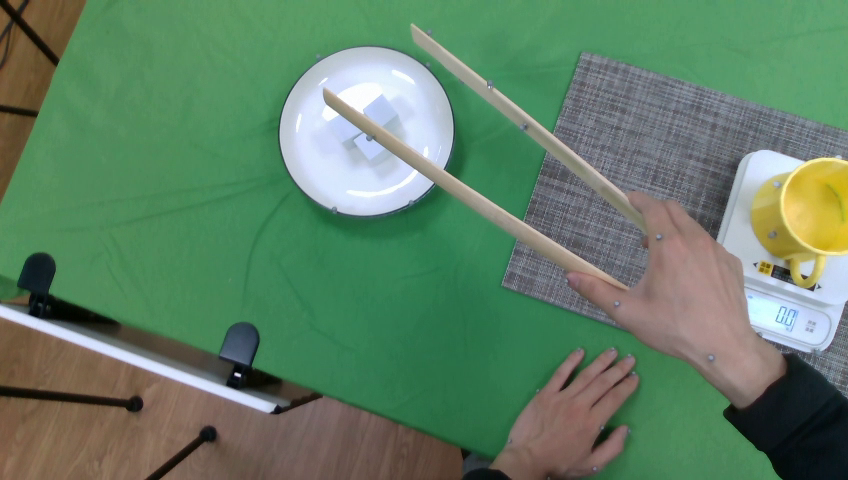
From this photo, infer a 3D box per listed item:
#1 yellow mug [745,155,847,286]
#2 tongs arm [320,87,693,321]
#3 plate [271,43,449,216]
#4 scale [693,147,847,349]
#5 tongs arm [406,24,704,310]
[{"bbox_3d":[0.397,-0.017,0.629,0.100,0.064,0.130,9,85,4],"label":"yellow mug"},{"bbox_3d":[0.050,-0.040,0.534,0.385,0.028,0.028,35,65,19],"label":"tongs arm"},{"bbox_3d":[-0.074,-0.128,0.720,0.207,0.039,0.207,0,83,3],"label":"plate"},{"bbox_3d":[0.397,0.008,0.673,0.148,0.031,0.200,19,85,6],"label":"scale"},{"bbox_3d":[0.096,-0.082,0.552,0.051,0.027,0.382,-40,67,-17],"label":"tongs arm"}]
